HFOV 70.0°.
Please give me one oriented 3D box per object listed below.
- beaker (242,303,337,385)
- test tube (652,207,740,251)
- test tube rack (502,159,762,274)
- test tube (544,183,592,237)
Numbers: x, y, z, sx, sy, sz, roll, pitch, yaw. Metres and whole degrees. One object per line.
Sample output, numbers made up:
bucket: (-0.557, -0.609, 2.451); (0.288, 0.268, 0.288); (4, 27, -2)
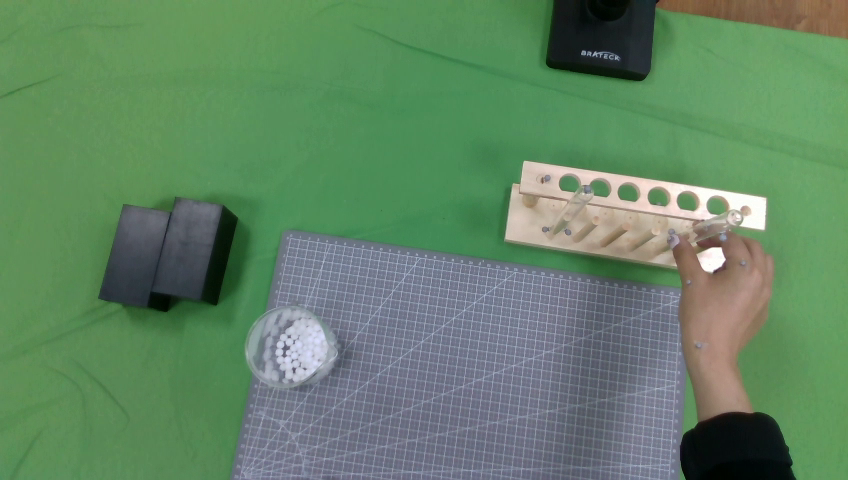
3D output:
beaker: (-0.123, 0.104, 0.594); (0.084, 0.100, 0.073); (9, 78, 1)
test tube: (0.255, -0.008, 0.578); (0.017, 0.151, 0.017); (1, 80, -3)
test tube rack: (0.211, -0.022, 0.637); (0.242, 0.085, 0.066); (9, 78, 1)
test tube: (0.138, -0.026, 0.591); (0.017, 0.151, 0.017); (0, 77, 0)
